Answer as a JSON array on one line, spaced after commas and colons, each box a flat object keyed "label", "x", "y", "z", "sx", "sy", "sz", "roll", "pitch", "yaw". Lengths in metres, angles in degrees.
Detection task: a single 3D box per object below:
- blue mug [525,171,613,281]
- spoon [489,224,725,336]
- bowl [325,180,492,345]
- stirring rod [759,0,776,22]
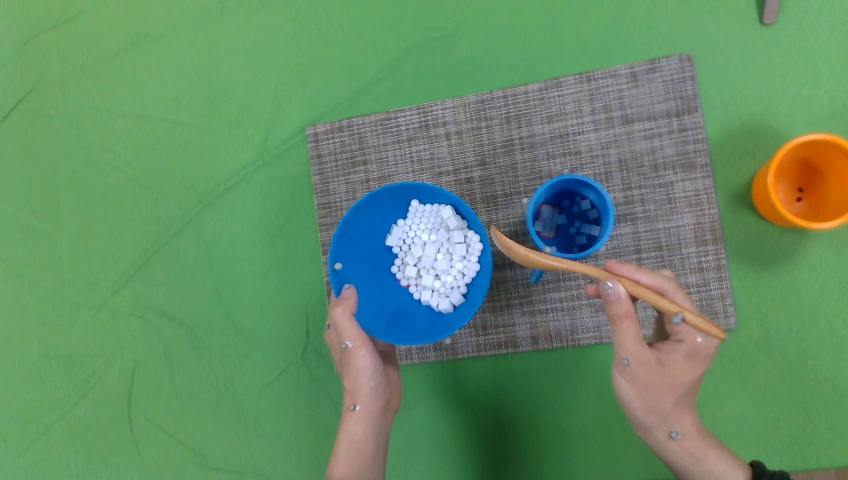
[{"label": "blue mug", "x": 0.139, "y": -0.008, "z": 0.629, "sx": 0.082, "sy": 0.106, "sz": 0.116, "roll": 30, "pitch": 93, "yaw": 11}, {"label": "spoon", "x": 0.123, "y": 0.025, "z": 0.445, "sx": 0.192, "sy": 0.042, "sz": 0.021, "roll": 21, "pitch": 77, "yaw": 37}, {"label": "bowl", "x": -0.013, "y": 0.023, "z": 0.583, "sx": 0.151, "sy": 0.077, "sz": 0.151, "roll": 0, "pitch": 86, "yaw": 1}, {"label": "stirring rod", "x": 0.365, "y": -0.318, "z": 0.621, "sx": 0.014, "sy": 0.006, "sz": 0.177, "roll": 0, "pitch": 110, "yaw": 5}]
